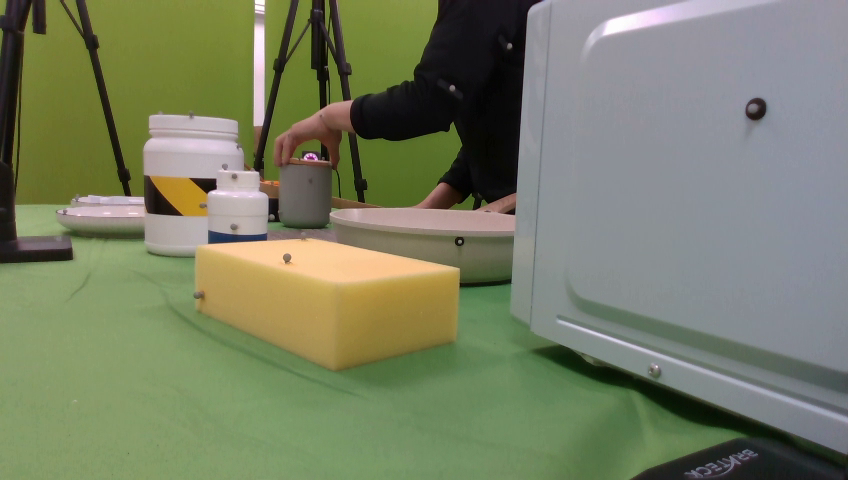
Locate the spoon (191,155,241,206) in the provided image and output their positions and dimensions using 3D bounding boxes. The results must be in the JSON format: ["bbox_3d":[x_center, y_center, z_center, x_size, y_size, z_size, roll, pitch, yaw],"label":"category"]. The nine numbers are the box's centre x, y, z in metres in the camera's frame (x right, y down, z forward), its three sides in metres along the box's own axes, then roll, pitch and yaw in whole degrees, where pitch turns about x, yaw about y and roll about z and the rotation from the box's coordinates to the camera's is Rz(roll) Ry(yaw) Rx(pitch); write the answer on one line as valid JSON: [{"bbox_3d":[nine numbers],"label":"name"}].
[{"bbox_3d":[-0.489,-0.136,1.418,0.041,0.021,0.194,2,-35,19],"label":"spoon"}]

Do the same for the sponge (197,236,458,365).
[{"bbox_3d":[-0.087,0.039,0.500,0.206,0.061,0.119,8,9,44],"label":"sponge"}]

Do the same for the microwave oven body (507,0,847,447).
[{"bbox_3d":[0.331,-0.042,0.425,0.444,0.260,0.324,-2,8,-31],"label":"microwave oven body"}]

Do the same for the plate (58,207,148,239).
[{"bbox_3d":[-0.496,-0.030,1.021,0.209,0.038,0.209,2,8,0],"label":"plate"}]

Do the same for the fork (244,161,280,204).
[{"bbox_3d":[-0.398,-0.144,1.489,0.028,0.018,0.208,22,-23,47],"label":"fork"}]

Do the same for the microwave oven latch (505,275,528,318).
[{"bbox_3d":[0.100,0.041,0.472,0.079,0.029,0.030,-2,8,-30],"label":"microwave oven latch"}]

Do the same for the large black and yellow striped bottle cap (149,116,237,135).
[{"bbox_3d":[-0.319,-0.158,0.841,0.115,0.019,0.115,3,7,0],"label":"large black and yellow striped bottle cap"}]

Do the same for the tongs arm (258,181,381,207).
[{"bbox_3d":[-0.241,-0.095,1.373,0.387,0.026,0.050,9,0,-37],"label":"tongs arm"}]

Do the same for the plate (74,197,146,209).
[{"bbox_3d":[-0.596,-0.062,1.238,0.208,0.039,0.207,2,8,0],"label":"plate"}]

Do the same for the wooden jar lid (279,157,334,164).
[{"bbox_3d":[-0.236,-0.154,1.213,0.108,0.020,0.108,5,9,-1],"label":"wooden jar lid"}]

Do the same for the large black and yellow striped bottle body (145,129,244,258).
[{"bbox_3d":[-0.320,-0.075,0.851,0.131,0.184,0.130,2,8,0],"label":"large black and yellow striped bottle body"}]

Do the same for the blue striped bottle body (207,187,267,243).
[{"bbox_3d":[-0.204,-0.015,0.661,0.063,0.120,0.063,2,7,0],"label":"blue striped bottle body"}]

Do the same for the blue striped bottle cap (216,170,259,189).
[{"bbox_3d":[-0.201,-0.066,0.654,0.044,0.020,0.044,0,5,0],"label":"blue striped bottle cap"}]

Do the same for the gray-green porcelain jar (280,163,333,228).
[{"bbox_3d":[-0.238,-0.091,1.221,0.106,0.126,0.106,2,7,0],"label":"gray-green porcelain jar"}]

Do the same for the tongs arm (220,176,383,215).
[{"bbox_3d":[-0.285,-0.104,1.445,0.389,0.027,0.028,9,-4,-23],"label":"tongs arm"}]

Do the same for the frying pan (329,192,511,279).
[{"bbox_3d":[0.071,-0.030,0.883,0.305,0.102,0.490,7,17,27],"label":"frying pan"}]

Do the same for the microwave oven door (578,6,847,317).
[{"bbox_3d":[0.294,-0.067,0.570,0.358,0.243,0.039,-3,9,-31],"label":"microwave oven door"}]
